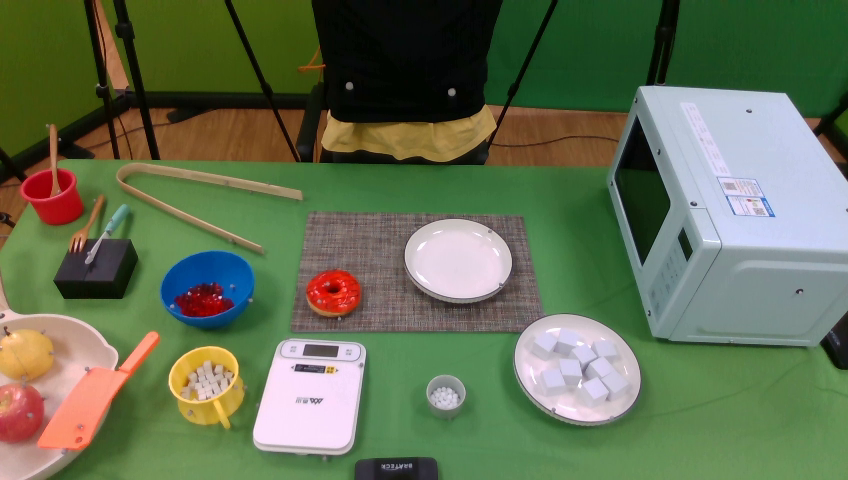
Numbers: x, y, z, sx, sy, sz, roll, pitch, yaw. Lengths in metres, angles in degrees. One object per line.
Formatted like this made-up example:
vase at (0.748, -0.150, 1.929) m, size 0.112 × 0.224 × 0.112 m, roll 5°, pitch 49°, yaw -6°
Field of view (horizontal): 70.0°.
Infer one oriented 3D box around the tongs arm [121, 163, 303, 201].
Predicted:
tongs arm at (-0.444, -0.114, 1.266) m, size 0.384 × 0.026 × 0.050 m, roll 12°, pitch 51°, yaw 7°

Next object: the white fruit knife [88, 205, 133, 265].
white fruit knife at (-0.583, -0.013, 1.129) m, size 0.016 × 0.027 × 0.206 m, roll -2°, pitch 32°, yaw -4°

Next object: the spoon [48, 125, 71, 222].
spoon at (-0.719, -0.131, 1.189) m, size 0.041 × 0.021 × 0.193 m, roll -3°, pitch 91°, yaw -6°

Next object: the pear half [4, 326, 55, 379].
pear half at (-0.609, 0.159, 0.934) m, size 0.076 × 0.110 × 0.056 m, roll 32°, pitch 52°, yaw 20°

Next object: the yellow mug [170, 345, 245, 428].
yellow mug at (-0.322, 0.230, 0.922) m, size 0.100 × 0.064 × 0.130 m, roll -24°, pitch 53°, yaw -25°

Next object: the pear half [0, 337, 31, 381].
pear half at (-0.632, 0.185, 0.920) m, size 0.070 × 0.088 × 0.031 m, roll 30°, pitch 49°, yaw 20°

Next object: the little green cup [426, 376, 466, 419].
little green cup at (0.033, 0.248, 0.950) m, size 0.061 × 0.039 × 0.061 m, roll 2°, pitch 46°, yaw -2°

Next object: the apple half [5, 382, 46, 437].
apple half at (-0.567, 0.244, 0.877) m, size 0.033 × 0.082 × 0.080 m, roll -9°, pitch 47°, yaw -7°

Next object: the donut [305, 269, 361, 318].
donut at (-0.160, 0.094, 1.075) m, size 0.099 × 0.048 × 0.098 m, roll 4°, pitch 45°, yaw -3°

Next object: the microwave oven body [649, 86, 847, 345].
microwave oven body at (0.567, -0.053, 1.119) m, size 0.326 × 0.261 × 0.439 m, roll 2°, pitch 45°, yaw -1°

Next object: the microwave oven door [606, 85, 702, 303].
microwave oven door at (0.422, -0.094, 1.140) m, size 0.039 × 0.245 × 0.353 m, roll 2°, pitch 46°, yaw -1°

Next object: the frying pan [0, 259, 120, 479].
frying pan at (-0.647, 0.164, 0.936) m, size 0.307 × 0.103 × 0.485 m, roll -19°, pitch 58°, yaw -22°

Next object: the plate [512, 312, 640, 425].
plate at (0.246, 0.213, 0.999) m, size 0.208 × 0.039 × 0.206 m, roll 2°, pitch 46°, yaw -2°

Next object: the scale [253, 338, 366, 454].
scale at (-0.175, 0.236, 0.951) m, size 0.149 × 0.032 × 0.199 m, roll 4°, pitch 45°, yaw 0°

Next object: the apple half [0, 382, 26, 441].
apple half at (-0.605, 0.250, 0.871) m, size 0.053 × 0.075 × 0.080 m, roll -9°, pitch 51°, yaw -7°

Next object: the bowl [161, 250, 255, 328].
bowl at (-0.362, 0.098, 1.039) m, size 0.151 × 0.077 × 0.150 m, roll 2°, pitch 45°, yaw -2°

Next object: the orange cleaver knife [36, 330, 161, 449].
orange cleaver knife at (-0.466, 0.210, 0.880) m, size 0.077 × 0.012 × 0.210 m, roll 15°, pitch 46°, yaw 9°

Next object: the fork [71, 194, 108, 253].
fork at (-0.634, -0.036, 1.158) m, size 0.028 × 0.019 × 0.206 m, roll -8°, pitch 32°, yaw -8°

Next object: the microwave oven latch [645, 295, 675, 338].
microwave oven latch at (0.411, 0.134, 1.061) m, size 0.030 × 0.029 × 0.078 m, roll 3°, pitch 45°, yaw 0°

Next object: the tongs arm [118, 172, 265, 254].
tongs arm at (-0.473, -0.054, 1.211) m, size 0.386 × 0.028 × 0.028 m, roll 23°, pitch 56°, yaw 17°

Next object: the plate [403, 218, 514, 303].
plate at (0.064, 0.042, 1.146) m, size 0.209 × 0.038 × 0.208 m, roll 2°, pitch 46°, yaw -2°
